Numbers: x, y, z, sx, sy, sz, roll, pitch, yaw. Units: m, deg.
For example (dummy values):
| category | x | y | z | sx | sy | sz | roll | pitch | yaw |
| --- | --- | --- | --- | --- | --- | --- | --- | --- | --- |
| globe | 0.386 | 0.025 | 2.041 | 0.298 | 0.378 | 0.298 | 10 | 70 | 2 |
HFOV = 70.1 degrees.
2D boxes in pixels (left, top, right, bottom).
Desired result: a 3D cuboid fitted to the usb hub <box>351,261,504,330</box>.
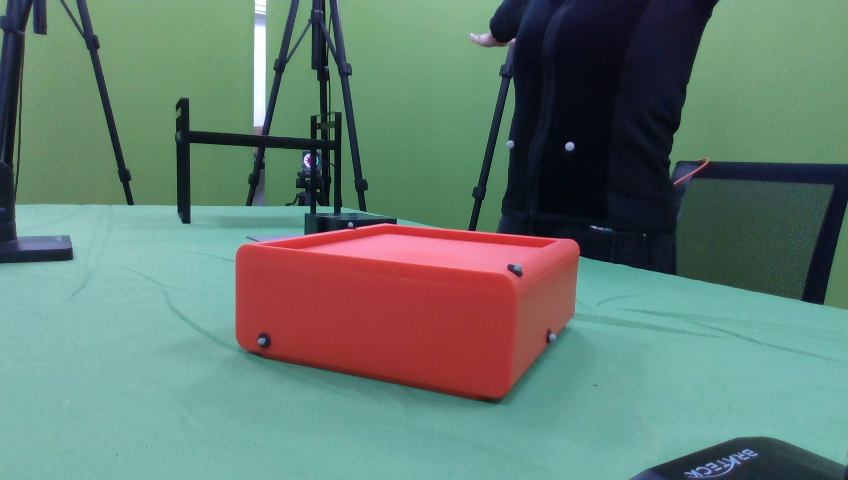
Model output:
| category | x | y | z | sx | sy | sz | roll | pitch | yaw |
| --- | --- | --- | --- | --- | --- | --- | --- | --- | --- |
| usb hub | 0.002 | 0.046 | 0.510 | 0.124 | 0.025 | 0.050 | 16 | 0 | 29 |

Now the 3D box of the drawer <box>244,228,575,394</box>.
| category | x | y | z | sx | sy | sz | roll | pitch | yaw |
| --- | --- | --- | --- | --- | --- | --- | --- | --- | --- |
| drawer | 0.003 | 0.042 | 0.477 | 0.194 | 0.073 | 0.212 | 6 | 10 | 22 |

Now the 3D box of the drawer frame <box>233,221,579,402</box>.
| category | x | y | z | sx | sy | sz | roll | pitch | yaw |
| --- | --- | --- | --- | --- | --- | --- | --- | --- | --- |
| drawer frame | 0.001 | 0.038 | 0.475 | 0.201 | 0.082 | 0.214 | 6 | 9 | 22 |
